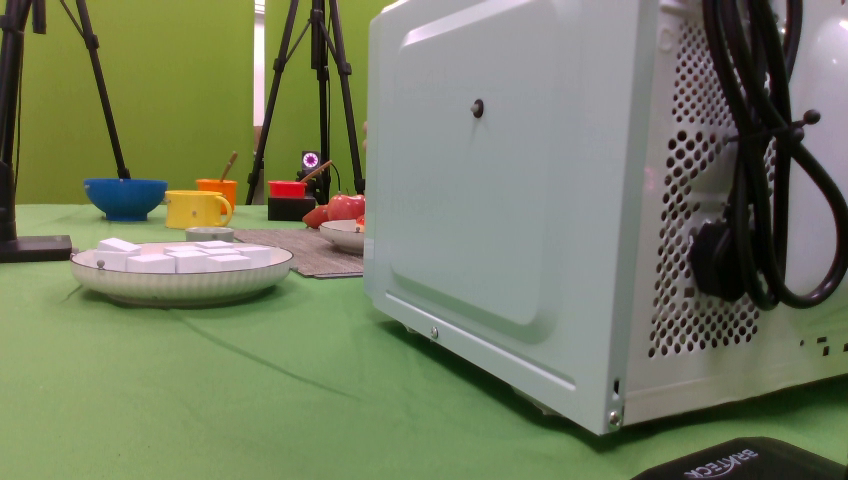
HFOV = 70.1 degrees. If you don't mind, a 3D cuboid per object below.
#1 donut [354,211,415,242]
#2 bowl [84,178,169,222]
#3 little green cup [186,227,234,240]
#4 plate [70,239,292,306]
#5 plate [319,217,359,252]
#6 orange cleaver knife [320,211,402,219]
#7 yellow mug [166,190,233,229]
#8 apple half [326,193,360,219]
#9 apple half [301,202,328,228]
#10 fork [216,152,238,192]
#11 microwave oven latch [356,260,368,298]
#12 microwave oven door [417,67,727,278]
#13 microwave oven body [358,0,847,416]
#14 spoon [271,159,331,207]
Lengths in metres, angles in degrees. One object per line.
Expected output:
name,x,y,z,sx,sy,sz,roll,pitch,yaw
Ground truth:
donut,-0.062,-0.020,0.955,0.099,0.048,0.099,5,6,0
bowl,-0.584,-0.078,1.194,0.151,0.077,0.151,3,8,0
little green cup,-0.284,0.005,0.805,0.061,0.038,0.061,2,8,0
plate,-0.242,0.032,0.618,0.208,0.039,0.207,3,8,0
plate,-0.059,-0.007,0.939,0.209,0.038,0.209,3,8,0
orange cleaver knife,-0.142,-0.057,1.394,0.077,0.012,0.212,2,6,44
yellow mug,-0.415,-0.057,1.132,0.130,0.064,0.100,6,8,16
apple half,-0.135,-0.047,1.089,0.081,0.074,0.053,5,10,-12
apple half,-0.194,-0.043,1.173,0.081,0.032,0.081,-21,-15,-6
fork,-0.455,-0.132,1.367,0.028,0.018,0.207,-2,-35,-38
microwave oven latch,-0.020,0.033,0.530,0.079,0.029,0.030,0,7,-26
microwave oven door,0.169,-0.089,0.748,0.355,0.243,0.039,4,9,16
microwave oven body,0.211,-0.047,0.474,0.444,0.260,0.324,-1,8,-28
spoon,-0.308,-0.142,1.514,0.193,0.021,0.041,-41,3,8
